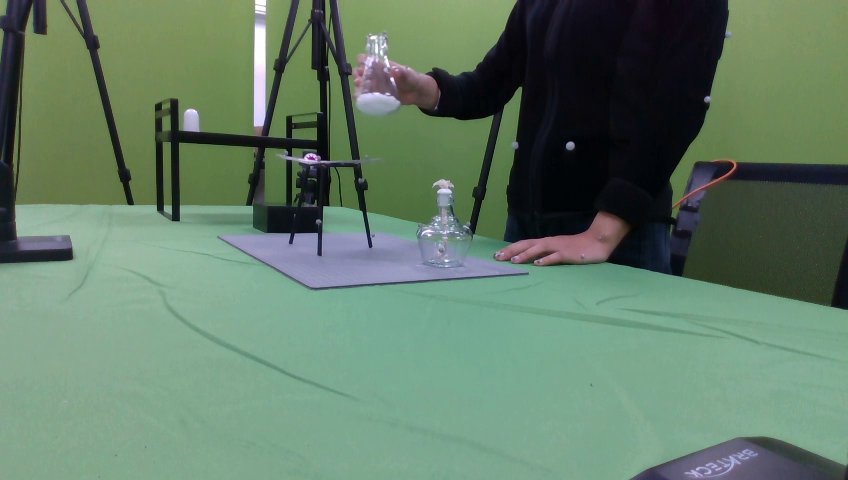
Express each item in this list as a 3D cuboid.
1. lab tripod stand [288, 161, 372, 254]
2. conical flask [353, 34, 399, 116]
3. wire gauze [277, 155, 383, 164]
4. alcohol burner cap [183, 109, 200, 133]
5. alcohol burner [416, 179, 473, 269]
[{"bbox_3d":[-0.148,-0.052,0.908,0.148,0.131,0.148,1,8,0],"label":"lab tripod stand"},{"bbox_3d":[-0.079,-0.270,0.982,0.075,0.121,0.075,-2,-10,0],"label":"conical flask"},{"bbox_3d":[-0.142,-0.118,0.899,0.122,0.011,0.124,-3,9,-36],"label":"wire gauze"},{"bbox_3d":[-0.472,-0.241,1.229,0.034,0.048,0.034,3,8,0],"label":"alcohol burner cap"},{"bbox_3d":[0.028,-0.022,0.816,0.078,0.119,0.078,0,7,0],"label":"alcohol burner"}]
